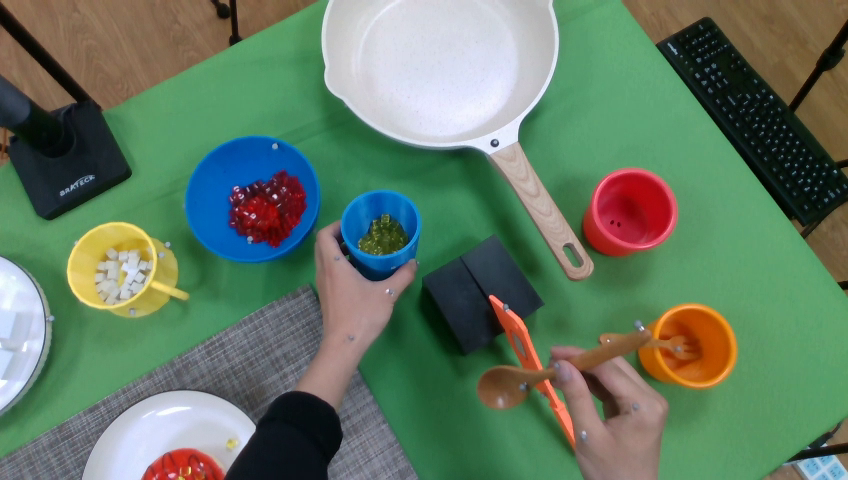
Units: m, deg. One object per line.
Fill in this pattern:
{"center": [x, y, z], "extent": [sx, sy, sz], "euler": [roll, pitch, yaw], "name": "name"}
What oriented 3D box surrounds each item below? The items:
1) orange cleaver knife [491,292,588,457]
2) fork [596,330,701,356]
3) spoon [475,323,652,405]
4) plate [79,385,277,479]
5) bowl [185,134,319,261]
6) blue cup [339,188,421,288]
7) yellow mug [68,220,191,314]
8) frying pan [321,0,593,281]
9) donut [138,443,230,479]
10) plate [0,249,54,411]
{"center": [0.127, 0.150, 0.675], "extent": [0.012, 0.076, 0.212], "euler": [-31, 107, -8], "name": "orange cleaver knife"}
{"center": [0.247, 0.109, 0.653], "extent": [0.209, 0.018, 0.028], "euler": [13, 71, -43], "name": "fork"}
{"center": [0.107, 0.105, 0.499], "extent": [0.021, 0.194, 0.041], "euler": [-36, 90, -40], "name": "spoon"}
{"center": [-0.262, 0.264, 0.659], "extent": [0.209, 0.038, 0.208], "euler": [0, 77, -1], "name": "plate"}
{"center": [-0.194, -0.041, 0.719], "extent": [0.151, 0.077, 0.150], "euler": [0, 76, -1], "name": "bowl"}
{"center": [-0.047, 0.006, 0.677], "extent": [0.093, 0.101, 0.092], "euler": [1, 60, -2], "name": "blue cup"}
{"center": [-0.331, 0.039, 0.703], "extent": [0.131, 0.064, 0.099], "euler": [21, 77, 4], "name": "yellow mug"}
{"center": [0.064, -0.159, 0.738], "extent": [0.307, 0.103, 0.484], "euler": [-25, 70, -6], "name": "frying pan"}
{"center": [-0.257, 0.268, 0.646], "extent": [0.099, 0.048, 0.098], "euler": [0, 80, -1], "name": "donut"}
{"center": [-0.527, 0.109, 0.696], "extent": [0.208, 0.039, 0.206], "euler": [0, 76, -1], "name": "plate"}
